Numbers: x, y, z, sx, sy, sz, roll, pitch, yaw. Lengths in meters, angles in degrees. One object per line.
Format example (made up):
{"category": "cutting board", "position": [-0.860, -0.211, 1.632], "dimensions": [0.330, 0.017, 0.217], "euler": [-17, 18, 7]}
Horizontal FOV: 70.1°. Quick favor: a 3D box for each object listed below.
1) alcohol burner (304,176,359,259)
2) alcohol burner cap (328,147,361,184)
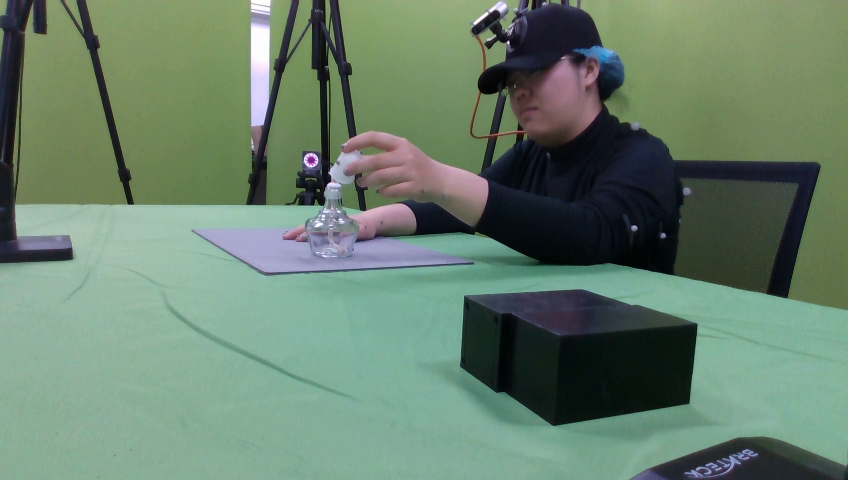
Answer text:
{"category": "alcohol burner", "position": [-0.129, -0.034, 0.851], "dimensions": [0.078, 0.119, 0.078], "euler": [2, 5, 0]}
{"category": "alcohol burner cap", "position": [-0.099, -0.098, 0.772], "dimensions": [0.034, 0.048, 0.034], "euler": [22, 38, -18]}
